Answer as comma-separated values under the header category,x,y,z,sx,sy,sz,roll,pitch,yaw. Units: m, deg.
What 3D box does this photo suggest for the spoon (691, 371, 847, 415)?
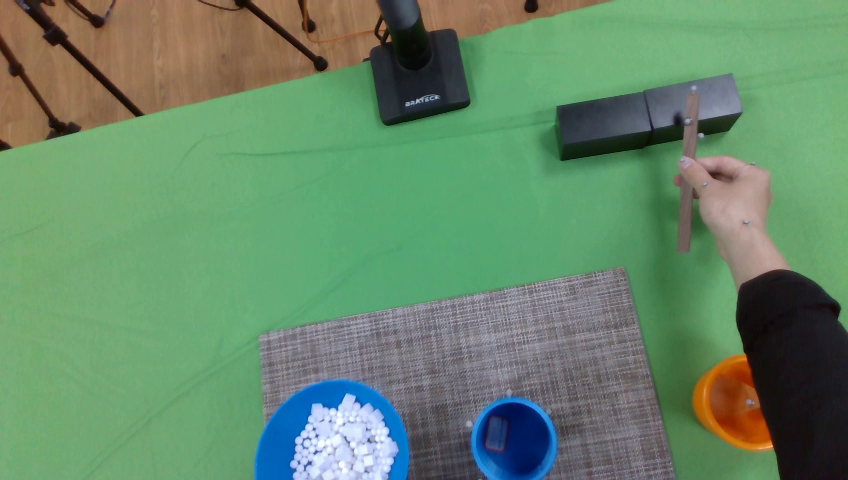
category,x,y,z,sx,sy,sz,roll,pitch,yaw
spoon,0.353,0.155,0.584,0.022,0.193,0.041,21,74,-31

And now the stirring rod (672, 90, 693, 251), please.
category,x,y,z,sx,sy,sz,roll,pitch,yaw
stirring rod,0.286,-0.076,0.669,0.014,0.006,0.176,3,93,28

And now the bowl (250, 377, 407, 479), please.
category,x,y,z,sx,sy,sz,roll,pitch,yaw
bowl,-0.089,0.222,0.616,0.151,0.077,0.150,-1,66,3

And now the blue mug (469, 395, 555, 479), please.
category,x,y,z,sx,sy,sz,roll,pitch,yaw
blue mug,0.083,0.218,0.627,0.082,0.106,0.116,27,82,15
